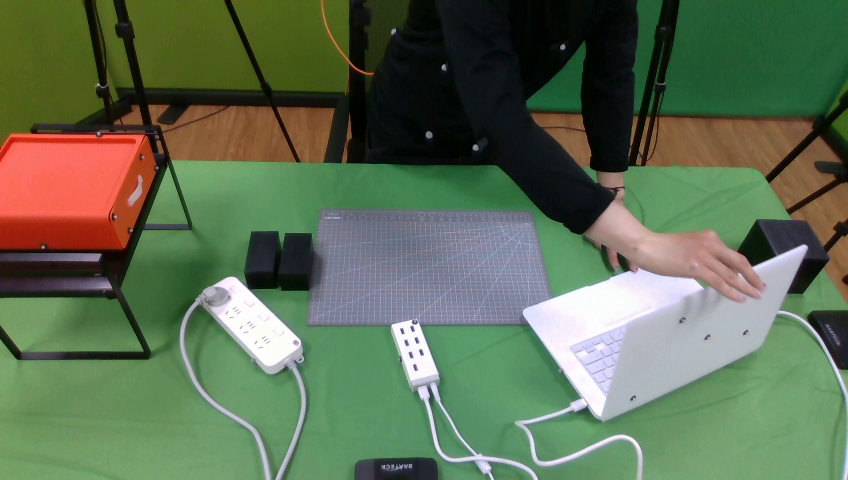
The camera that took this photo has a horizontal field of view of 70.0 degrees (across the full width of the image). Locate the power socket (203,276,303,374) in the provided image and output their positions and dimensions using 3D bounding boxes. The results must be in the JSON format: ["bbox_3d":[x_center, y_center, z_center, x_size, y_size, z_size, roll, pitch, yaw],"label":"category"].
[{"bbox_3d":[-0.296,0.141,1.034,0.225,0.033,0.072,37,55,27],"label":"power socket"}]

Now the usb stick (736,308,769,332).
[{"bbox_3d":[0.587,0.146,1.088,0.059,0.027,0.021,-21,47,-16],"label":"usb stick"}]

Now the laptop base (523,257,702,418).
[{"bbox_3d":[0.380,0.161,1.078,0.355,0.023,0.234,-17,48,-20],"label":"laptop base"}]

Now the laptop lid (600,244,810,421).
[{"bbox_3d":[0.430,0.145,0.928,0.357,0.243,0.013,-16,42,-20],"label":"laptop lid"}]

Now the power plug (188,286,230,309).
[{"bbox_3d":[-0.369,0.103,1.039,0.072,0.053,0.035,-26,54,-23],"label":"power plug"}]

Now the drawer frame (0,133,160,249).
[{"bbox_3d":[-0.553,-0.078,0.942,0.214,0.083,0.200,-1,47,-4],"label":"drawer frame"}]

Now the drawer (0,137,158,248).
[{"bbox_3d":[-0.549,-0.079,0.944,0.212,0.073,0.193,1,47,-4],"label":"drawer"}]

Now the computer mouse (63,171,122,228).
[{"bbox_3d":[-0.522,-0.067,0.955,0.063,0.041,0.116,1,49,-9],"label":"computer mouse"}]

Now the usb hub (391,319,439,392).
[{"bbox_3d":[-0.016,0.191,1.013,0.049,0.025,0.124,-11,48,-15],"label":"usb hub"}]
